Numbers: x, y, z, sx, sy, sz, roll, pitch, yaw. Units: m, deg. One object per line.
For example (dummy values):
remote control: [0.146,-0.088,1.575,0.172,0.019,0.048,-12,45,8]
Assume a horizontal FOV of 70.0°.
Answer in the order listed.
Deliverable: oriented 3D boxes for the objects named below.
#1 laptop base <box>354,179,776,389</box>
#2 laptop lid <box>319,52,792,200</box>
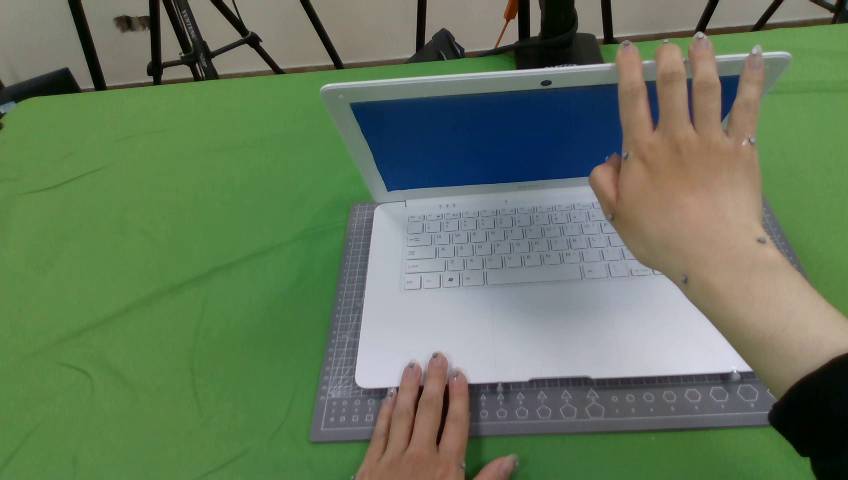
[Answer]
laptop base: [0.117,0.036,0.588,0.354,0.023,0.233,-4,48,5]
laptop lid: [0.104,-0.090,0.556,0.356,0.243,0.013,-4,73,7]
